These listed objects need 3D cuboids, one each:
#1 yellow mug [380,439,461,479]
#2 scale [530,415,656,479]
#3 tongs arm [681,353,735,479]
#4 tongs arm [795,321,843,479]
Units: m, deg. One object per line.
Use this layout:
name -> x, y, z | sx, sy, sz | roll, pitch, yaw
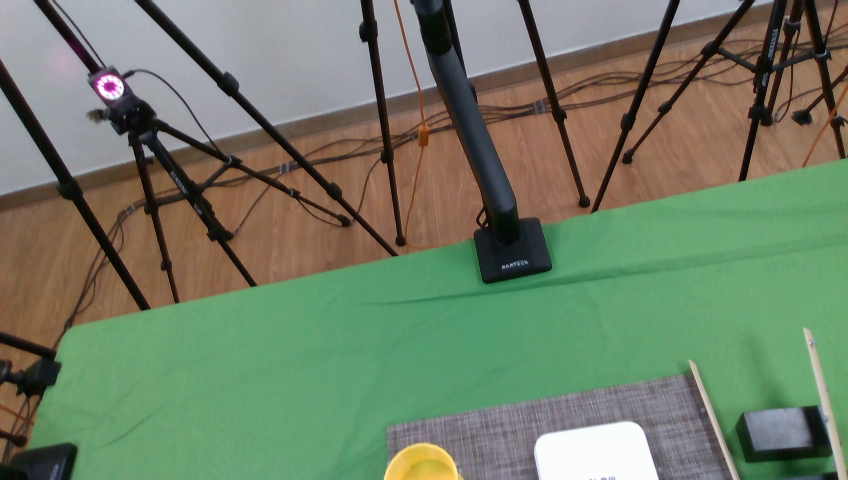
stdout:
yellow mug -> 0.011, 0.329, 0.806 | 0.130, 0.064, 0.099 | 13, 59, 22
scale -> 0.224, 0.329, 0.770 | 0.148, 0.032, 0.199 | -12, 53, 6
tongs arm -> 0.395, 0.310, 0.741 | 0.028, 0.028, 0.383 | -29, 48, 24
tongs arm -> 0.456, 0.280, 0.696 | 0.050, 0.027, 0.381 | -20, 53, 35
